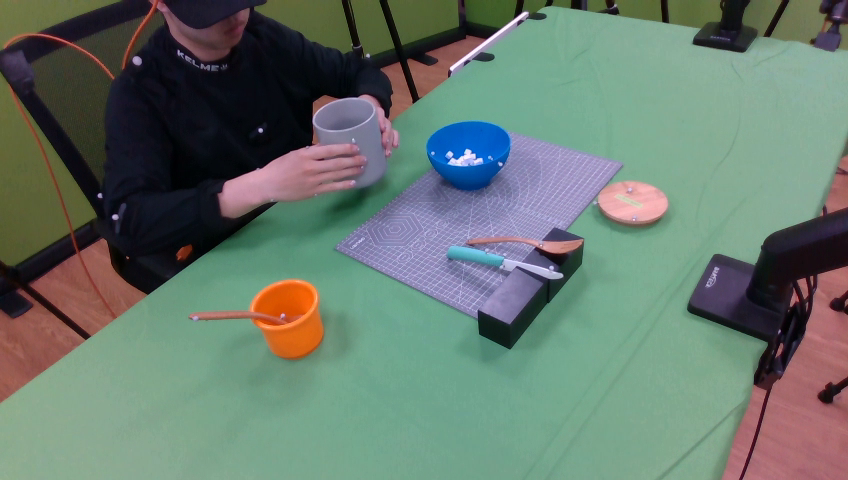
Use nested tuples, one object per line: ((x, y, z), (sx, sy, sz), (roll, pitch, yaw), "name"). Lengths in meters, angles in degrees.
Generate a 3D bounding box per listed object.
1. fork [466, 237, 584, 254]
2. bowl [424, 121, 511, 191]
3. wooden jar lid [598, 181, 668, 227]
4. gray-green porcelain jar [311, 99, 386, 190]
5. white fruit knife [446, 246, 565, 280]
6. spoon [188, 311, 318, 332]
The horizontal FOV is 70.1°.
((0.142, 0.005, 0.894), (0.205, 0.019, 0.028), (4, 43, 41), "fork")
((0.080, -0.140, 1.074), (0.151, 0.077, 0.150), (-4, 40, 4), "bowl")
((0.340, -0.058, 0.988), (0.108, 0.021, 0.108), (-5, 41, 5), "wooden jar lid")
((-0.124, -0.157, 1.025), (0.106, 0.127, 0.105), (-6, 42, 6), "gray-green porcelain jar")
((0.111, 0.033, 0.868), (0.205, 0.027, 0.016), (11, 44, 40), "white fruit knife")
((-0.216, 0.102, 0.783), (0.041, 0.195, 0.021), (25, 95, 39), "spoon")
